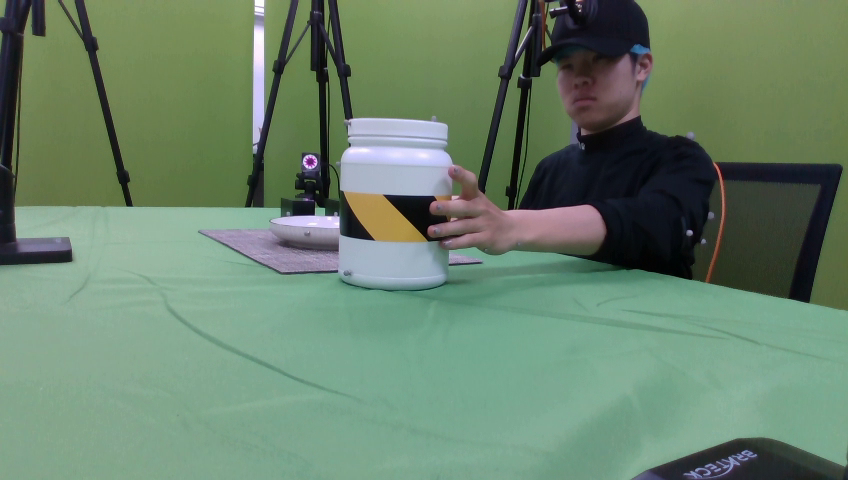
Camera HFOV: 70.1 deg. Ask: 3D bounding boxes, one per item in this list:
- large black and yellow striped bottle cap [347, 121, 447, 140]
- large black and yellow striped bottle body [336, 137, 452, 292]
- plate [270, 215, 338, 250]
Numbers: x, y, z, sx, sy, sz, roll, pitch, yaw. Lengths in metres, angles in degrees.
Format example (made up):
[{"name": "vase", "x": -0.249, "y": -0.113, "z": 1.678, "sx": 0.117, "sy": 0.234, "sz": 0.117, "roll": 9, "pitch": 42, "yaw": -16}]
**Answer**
[{"name": "large black and yellow striped bottle cap", "x": -0.031, "y": -0.124, "z": 0.691, "sx": 0.115, "sy": 0.019, "sz": 0.115, "roll": 1, "pitch": 7, "yaw": 0}, {"name": "large black and yellow striped bottle body", "x": -0.034, "y": -0.041, "z": 0.702, "sx": 0.131, "sy": 0.184, "sz": 0.130, "roll": 3, "pitch": 7, "yaw": 0}, {"name": "plate", "x": -0.146, "y": -0.013, "z": 0.992, "sx": 0.208, "sy": 0.039, "sz": 0.207, "roll": 2, "pitch": 7, "yaw": 0}]
